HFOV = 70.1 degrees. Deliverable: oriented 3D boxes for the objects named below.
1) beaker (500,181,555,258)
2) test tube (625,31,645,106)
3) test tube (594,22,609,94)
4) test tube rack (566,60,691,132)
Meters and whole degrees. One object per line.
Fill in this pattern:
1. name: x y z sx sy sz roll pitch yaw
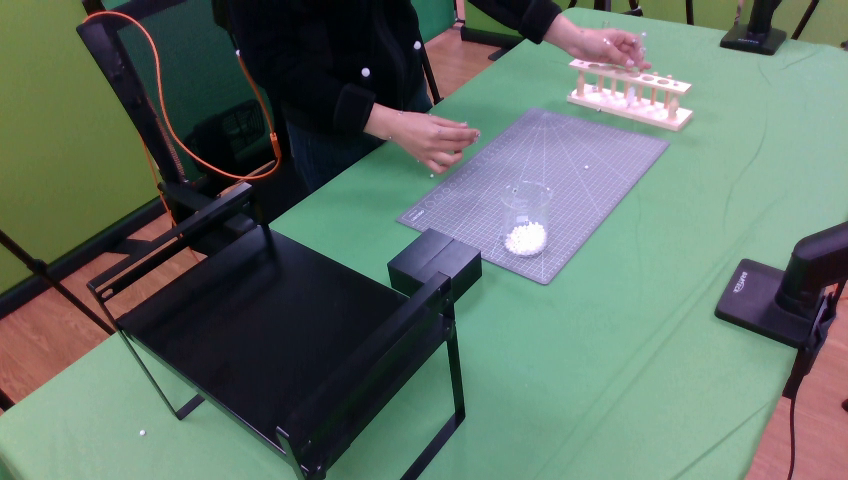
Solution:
1. beaker: 0.158 -0.030 0.922 0.084 0.100 0.073 -13 41 -8
2. test tube: 0.407 -0.328 1.168 0.017 0.151 0.017 -3 41 3
3. test tube: 0.364 -0.371 1.238 0.017 0.151 0.017 -3 40 3
4. test tube rack: 0.411 -0.299 1.217 0.240 0.085 0.067 26 51 34
